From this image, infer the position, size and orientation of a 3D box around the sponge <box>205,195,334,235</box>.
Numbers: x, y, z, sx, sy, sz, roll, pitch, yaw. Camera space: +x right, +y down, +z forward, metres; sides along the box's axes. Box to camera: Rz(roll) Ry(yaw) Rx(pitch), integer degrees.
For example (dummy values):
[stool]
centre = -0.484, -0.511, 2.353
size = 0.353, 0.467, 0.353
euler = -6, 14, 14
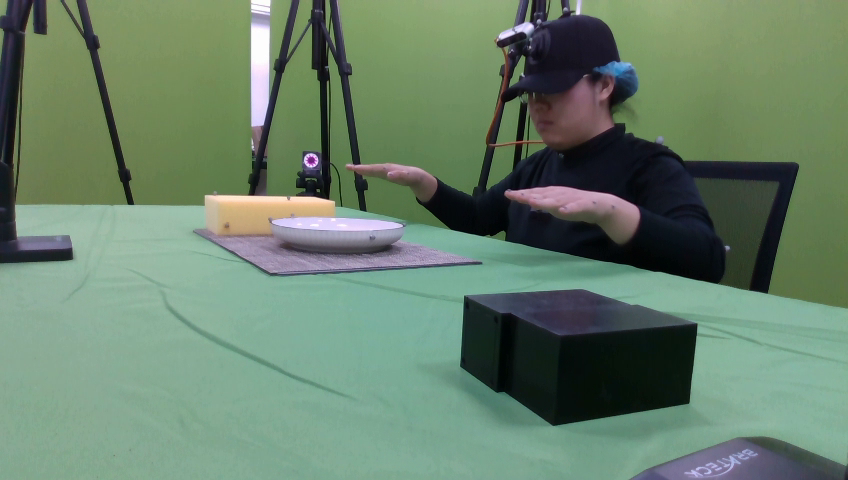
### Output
[sponge]
centre = -0.280, -0.047, 1.097
size = 0.208, 0.061, 0.117
euler = -2, 9, -30

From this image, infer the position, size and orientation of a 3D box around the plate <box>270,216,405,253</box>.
[plate]
centre = -0.134, -0.010, 0.946
size = 0.208, 0.039, 0.207
euler = 2, 7, 0
